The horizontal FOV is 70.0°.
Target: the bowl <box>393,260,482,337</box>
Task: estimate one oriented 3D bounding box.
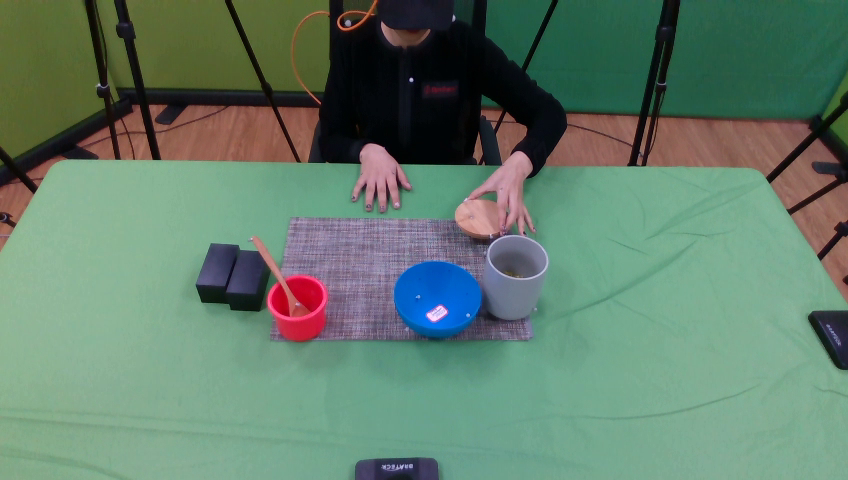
[{"bbox_3d":[0.021,0.115,1.045,0.151,0.077,0.150,2,46,-2],"label":"bowl"}]

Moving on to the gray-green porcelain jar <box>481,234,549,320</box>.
[{"bbox_3d":[0.156,0.070,1.064,0.106,0.127,0.105,2,46,-2],"label":"gray-green porcelain jar"}]

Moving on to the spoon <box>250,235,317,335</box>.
[{"bbox_3d":[-0.237,0.075,1.019,0.041,0.021,0.194,-32,100,-32],"label":"spoon"}]

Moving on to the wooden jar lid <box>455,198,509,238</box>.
[{"bbox_3d":[0.114,-0.042,1.196,0.108,0.021,0.107,3,44,-3],"label":"wooden jar lid"}]
